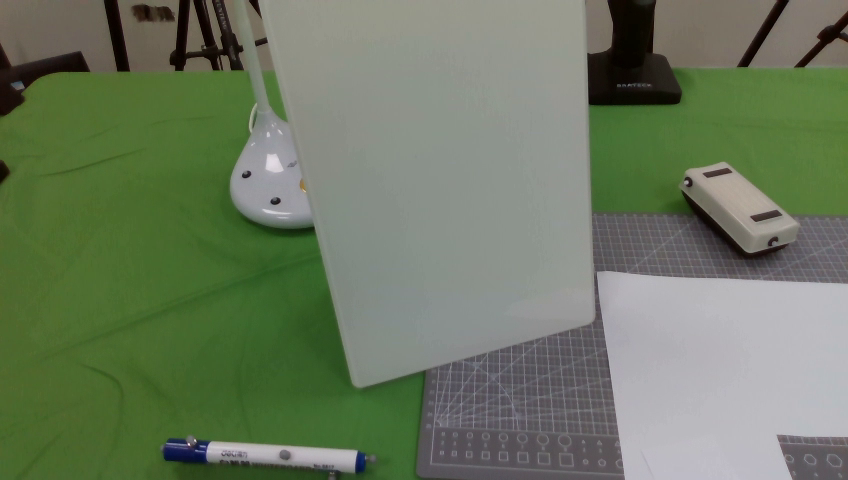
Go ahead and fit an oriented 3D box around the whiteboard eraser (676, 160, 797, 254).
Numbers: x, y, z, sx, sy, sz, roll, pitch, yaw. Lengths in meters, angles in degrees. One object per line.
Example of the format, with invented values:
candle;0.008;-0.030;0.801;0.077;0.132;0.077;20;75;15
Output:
whiteboard eraser;0.305;-0.033;0.600;0.056;0.042;0.111;-15;44;-10

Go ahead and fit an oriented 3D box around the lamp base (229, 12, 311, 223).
lamp base;-0.150;-0.135;0.637;0.160;0.182;0.177;-34;49;-29

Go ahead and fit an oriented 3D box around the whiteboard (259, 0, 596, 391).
whiteboard;0.008;-0.065;0.505;0.217;0.307;0.142;-13;25;-9

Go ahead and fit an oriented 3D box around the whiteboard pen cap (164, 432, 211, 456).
whiteboard pen cap;-0.171;0.150;0.445;0.033;0.018;0.018;2;43;2

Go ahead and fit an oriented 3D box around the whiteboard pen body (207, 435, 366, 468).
whiteboard pen body;-0.113;0.153;0.441;0.141;0.017;0.017;3;43;4
